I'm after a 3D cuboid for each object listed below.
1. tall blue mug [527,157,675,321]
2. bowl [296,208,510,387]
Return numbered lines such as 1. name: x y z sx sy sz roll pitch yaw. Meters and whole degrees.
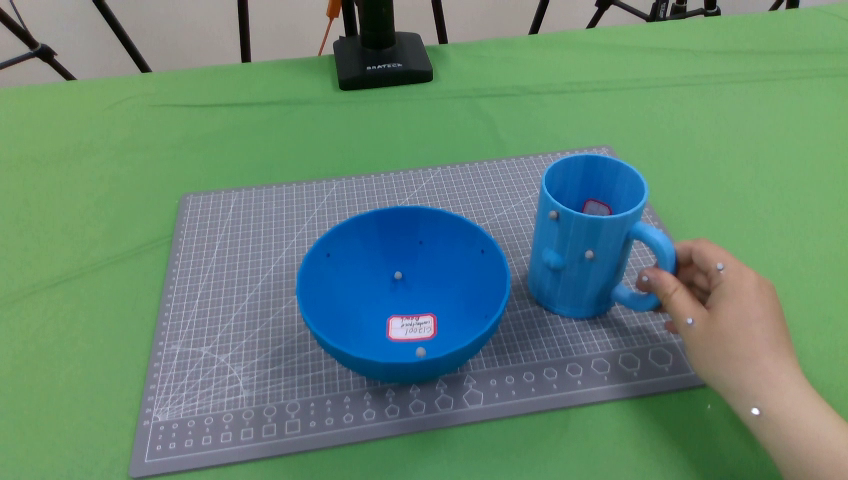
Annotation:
1. tall blue mug: 0.139 0.005 0.473 0.107 0.109 0.077 12 45 14
2. bowl: -0.014 0.054 0.447 0.151 0.077 0.150 0 43 1
